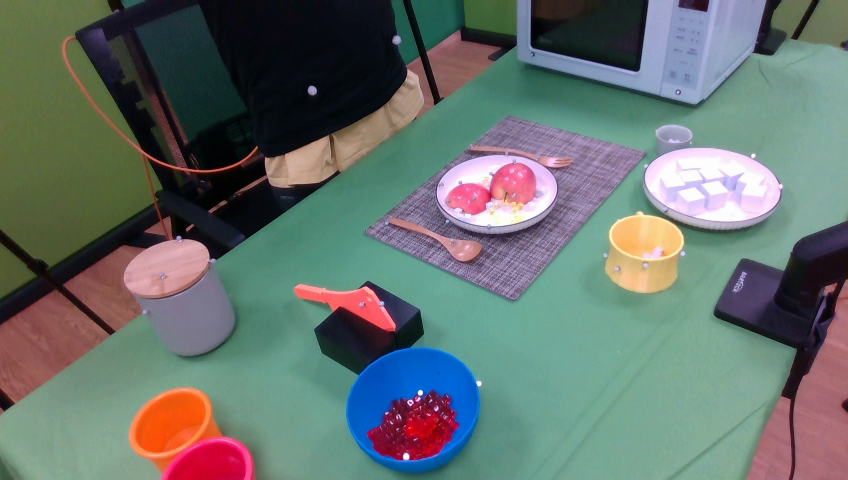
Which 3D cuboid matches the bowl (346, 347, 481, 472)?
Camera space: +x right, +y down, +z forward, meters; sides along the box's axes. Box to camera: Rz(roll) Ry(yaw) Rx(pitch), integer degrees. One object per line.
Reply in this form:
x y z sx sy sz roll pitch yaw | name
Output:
-0.008 0.205 0.691 0.151 0.077 0.150 -4 40 4 | bowl

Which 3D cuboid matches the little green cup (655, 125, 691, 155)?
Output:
0.450 -0.178 1.099 0.061 0.039 0.061 -5 40 4 | little green cup

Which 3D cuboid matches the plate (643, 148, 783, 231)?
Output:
0.464 -0.080 0.986 0.207 0.039 0.206 -4 41 4 | plate

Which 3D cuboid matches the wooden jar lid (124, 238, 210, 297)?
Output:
-0.335 0.039 0.794 0.108 0.021 0.108 -2 40 2 | wooden jar lid

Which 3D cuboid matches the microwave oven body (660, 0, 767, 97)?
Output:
0.473 -0.516 1.313 0.438 0.261 0.327 26 51 34 | microwave oven body

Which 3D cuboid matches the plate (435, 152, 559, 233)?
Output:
0.123 -0.078 1.026 0.209 0.038 0.208 -4 40 4 | plate

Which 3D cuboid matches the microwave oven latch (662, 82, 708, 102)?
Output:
0.518 -0.298 1.202 0.078 0.029 0.030 28 53 35 | microwave oven latch

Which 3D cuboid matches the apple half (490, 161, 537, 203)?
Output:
0.154 -0.106 1.030 0.080 0.053 0.075 22 46 31 | apple half

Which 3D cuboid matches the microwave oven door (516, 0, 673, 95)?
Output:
0.344 -0.458 1.256 0.353 0.245 0.039 26 51 33 | microwave oven door

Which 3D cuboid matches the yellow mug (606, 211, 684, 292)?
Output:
0.318 0.007 0.883 0.100 0.064 0.130 0 41 8 | yellow mug

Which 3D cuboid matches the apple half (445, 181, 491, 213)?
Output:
0.077 -0.083 1.029 0.081 0.033 0.081 -2 41 2 | apple half

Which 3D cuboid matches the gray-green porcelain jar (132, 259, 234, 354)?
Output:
-0.328 0.087 0.836 0.106 0.127 0.105 -4 41 4 | gray-green porcelain jar

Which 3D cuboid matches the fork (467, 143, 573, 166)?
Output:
0.176 -0.163 1.131 0.206 0.019 0.028 14 59 21 | fork

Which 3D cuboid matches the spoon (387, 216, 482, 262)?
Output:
0.012 -0.009 0.973 0.192 0.022 0.041 25 72 31 | spoon

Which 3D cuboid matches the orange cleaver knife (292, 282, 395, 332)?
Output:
-0.116 0.091 0.835 0.209 0.077 0.012 2 32 48 | orange cleaver knife
